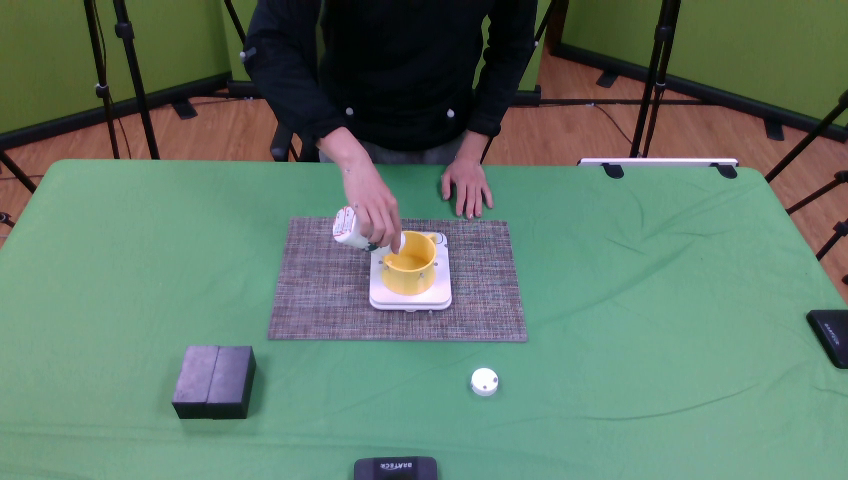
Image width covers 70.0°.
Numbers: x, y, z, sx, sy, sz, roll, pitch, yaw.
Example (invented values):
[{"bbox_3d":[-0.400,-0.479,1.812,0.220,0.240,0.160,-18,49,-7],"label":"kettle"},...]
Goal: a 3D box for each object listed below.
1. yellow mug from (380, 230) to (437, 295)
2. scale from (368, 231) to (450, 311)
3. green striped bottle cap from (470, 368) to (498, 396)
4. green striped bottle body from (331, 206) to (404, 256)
[{"bbox_3d":[-0.020,0.030,1.089,0.099,0.064,0.130,31,51,24],"label":"yellow mug"},{"bbox_3d":[-0.029,0.048,1.137,0.149,0.032,0.199,1,46,-4],"label":"scale"},{"bbox_3d":[0.098,0.231,0.989,0.044,0.020,0.044,2,43,-2],"label":"green striped bottle cap"},{"bbox_3d":[-0.090,-0.012,1.017,0.120,0.063,0.062,19,33,-40],"label":"green striped bottle body"}]
